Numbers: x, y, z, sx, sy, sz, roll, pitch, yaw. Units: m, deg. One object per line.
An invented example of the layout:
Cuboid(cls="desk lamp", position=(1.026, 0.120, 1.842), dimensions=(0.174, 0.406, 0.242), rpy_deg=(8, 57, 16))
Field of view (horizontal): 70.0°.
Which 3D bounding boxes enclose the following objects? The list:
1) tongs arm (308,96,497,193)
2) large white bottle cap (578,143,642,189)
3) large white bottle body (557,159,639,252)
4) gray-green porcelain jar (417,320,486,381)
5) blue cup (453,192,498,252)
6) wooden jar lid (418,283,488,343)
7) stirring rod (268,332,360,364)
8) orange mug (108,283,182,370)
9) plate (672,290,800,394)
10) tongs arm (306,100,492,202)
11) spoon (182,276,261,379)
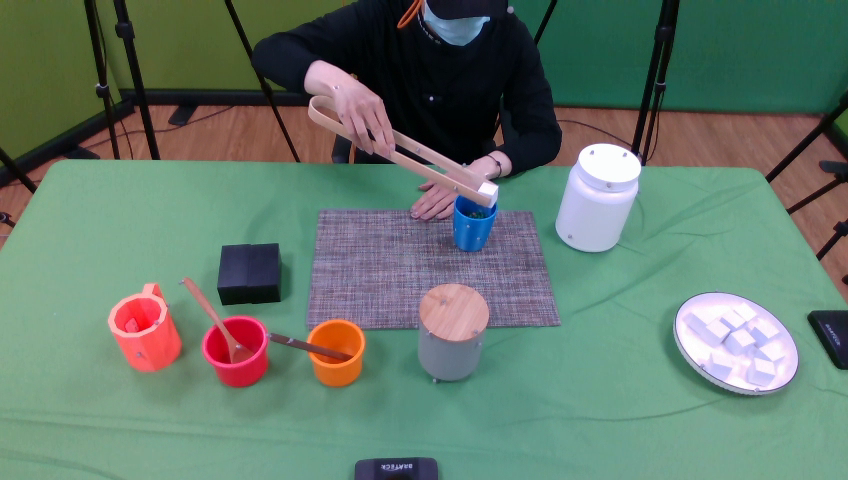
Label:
Cuboid(cls="tongs arm", position=(-0.043, -0.176, 1.139), dimensions=(0.384, 0.026, 0.050), rpy_deg=(29, 47, 6))
Cuboid(cls="large white bottle cap", position=(0.344, -0.139, 1.123), dimensions=(0.115, 0.018, 0.114), rpy_deg=(2, 46, -2))
Cuboid(cls="large white bottle body", position=(0.340, -0.081, 1.185), dimensions=(0.131, 0.185, 0.130), rpy_deg=(2, 46, -1))
Cuboid(cls="gray-green porcelain jar", position=(0.042, 0.158, 0.975), dimensions=(0.106, 0.127, 0.105), rpy_deg=(2, 46, -2))
Cuboid(cls="blue cup", position=(0.093, -0.032, 1.173), dimensions=(0.093, 0.101, 0.092), rpy_deg=(4, 46, -3))
Cuboid(cls="wooden jar lid", position=(0.045, 0.114, 0.931), dimensions=(0.108, 0.021, 0.107), rpy_deg=(2, 49, -2))
Cuboid(cls="stirring rod", position=(-0.167, 0.169, 0.942), dimensions=(0.177, 0.006, 0.014), rpy_deg=(26, 28, -41))
Cuboid(cls="orange mug", position=(-0.445, 0.134, 0.983), dimensions=(0.083, 0.101, 0.125), rpy_deg=(-1, 50, -5))
Cuboid(cls="plate", position=(0.533, 0.179, 1.050), dimensions=(0.208, 0.039, 0.206), rpy_deg=(2, 46, -2))
Cuboid(cls="tongs arm", position=(-0.051, -0.162, 1.124), dimensions=(0.387, 0.028, 0.028), rpy_deg=(26, 50, 2))
Cuboid(cls="spoon", position=(-0.321, 0.137, 0.957), dimensions=(0.041, 0.021, 0.194), rpy_deg=(-36, 102, -32))
